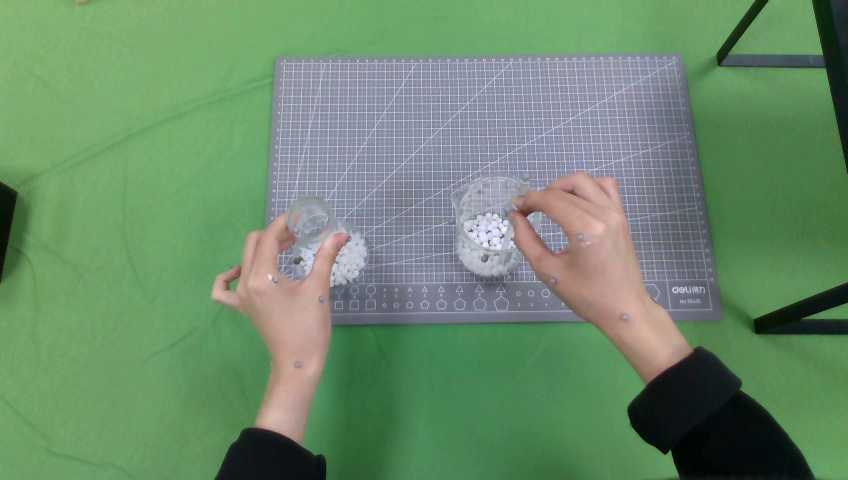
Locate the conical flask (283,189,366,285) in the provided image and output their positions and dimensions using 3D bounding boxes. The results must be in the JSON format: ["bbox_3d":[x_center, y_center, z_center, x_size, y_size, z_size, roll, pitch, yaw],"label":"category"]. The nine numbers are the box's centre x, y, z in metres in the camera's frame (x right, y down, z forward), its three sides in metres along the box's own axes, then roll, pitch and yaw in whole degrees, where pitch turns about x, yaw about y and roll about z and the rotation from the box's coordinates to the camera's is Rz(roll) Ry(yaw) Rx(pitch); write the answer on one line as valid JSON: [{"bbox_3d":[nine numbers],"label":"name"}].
[{"bbox_3d":[-0.095,-0.007,0.547,0.075,0.122,0.075,0,73,0],"label":"conical flask"}]

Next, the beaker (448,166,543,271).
[{"bbox_3d":[0.060,-0.016,0.563,0.084,0.101,0.073,23,74,8],"label":"beaker"}]

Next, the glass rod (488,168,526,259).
[{"bbox_3d":[0.066,-0.016,0.503,0.008,0.201,0.008,0,72,0],"label":"glass rod"}]
